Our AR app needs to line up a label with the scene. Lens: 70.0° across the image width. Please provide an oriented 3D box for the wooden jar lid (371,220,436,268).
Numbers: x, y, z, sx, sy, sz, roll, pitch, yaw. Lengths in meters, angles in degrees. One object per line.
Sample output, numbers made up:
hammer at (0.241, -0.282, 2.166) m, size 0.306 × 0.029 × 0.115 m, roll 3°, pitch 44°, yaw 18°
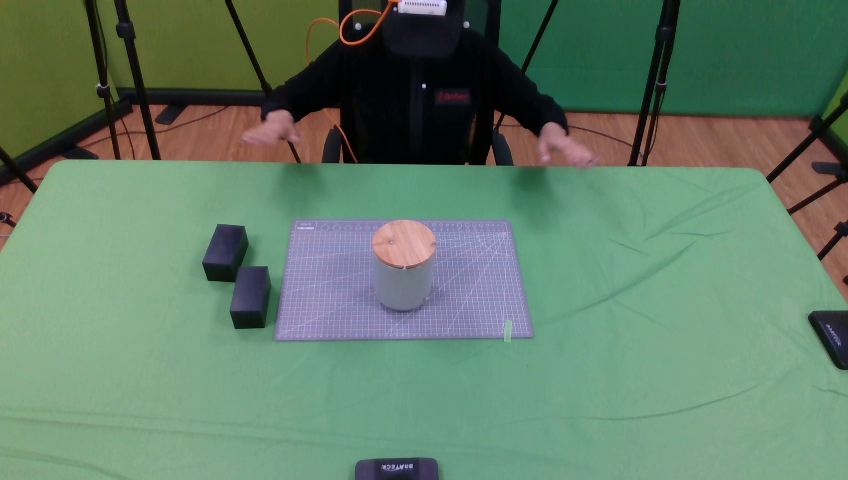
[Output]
wooden jar lid at (-0.034, 0.009, 1.020) m, size 0.108 × 0.021 × 0.107 m, roll 2°, pitch 47°, yaw -2°

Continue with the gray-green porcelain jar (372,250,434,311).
gray-green porcelain jar at (-0.037, 0.054, 1.066) m, size 0.106 × 0.127 × 0.105 m, roll 2°, pitch 46°, yaw -2°
